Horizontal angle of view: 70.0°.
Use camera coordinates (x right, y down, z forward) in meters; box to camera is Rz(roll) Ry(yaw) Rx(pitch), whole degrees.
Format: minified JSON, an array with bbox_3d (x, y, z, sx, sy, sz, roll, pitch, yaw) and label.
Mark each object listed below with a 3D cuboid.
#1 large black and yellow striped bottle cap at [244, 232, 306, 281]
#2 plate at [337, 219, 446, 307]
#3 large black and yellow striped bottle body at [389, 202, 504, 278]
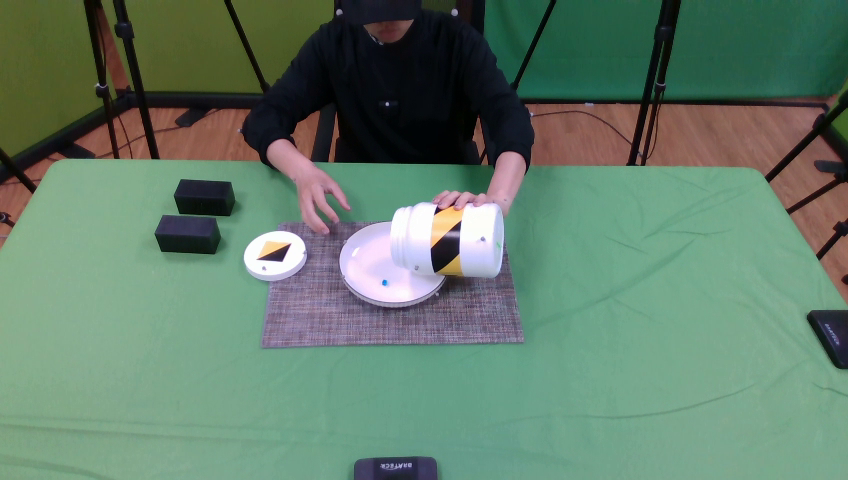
[{"bbox_3d":[-0.282,0.030,1.146,0.115,0.019,0.114,-1,45,1],"label":"large black and yellow striped bottle cap"},{"bbox_3d":[-0.057,0.045,1.133,0.208,0.039,0.206,2,46,-2],"label":"plate"},{"bbox_3d":[0.042,-0.002,1.068,0.184,0.131,0.130,2,44,16],"label":"large black and yellow striped bottle body"}]
